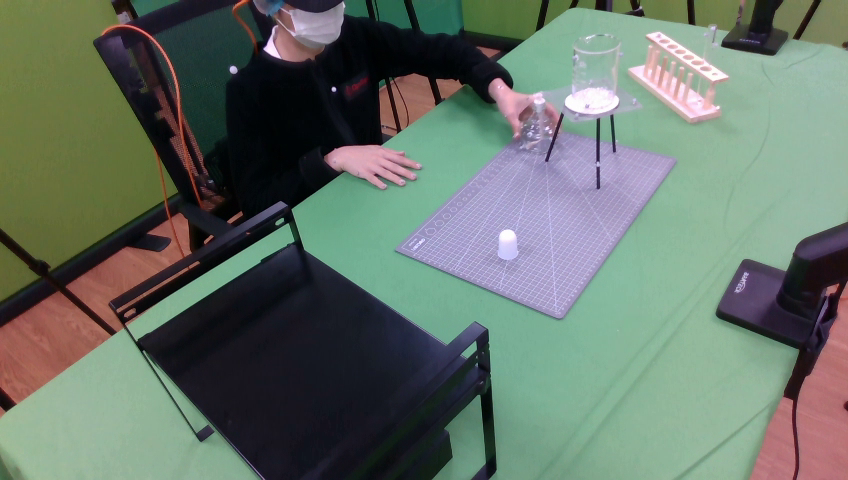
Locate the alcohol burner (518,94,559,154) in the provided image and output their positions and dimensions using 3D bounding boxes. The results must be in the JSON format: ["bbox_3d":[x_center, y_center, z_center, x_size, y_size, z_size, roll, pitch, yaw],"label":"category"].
[{"bbox_3d":[0.215,-0.222,1.135,0.078,0.119,0.077,-4,43,5],"label":"alcohol burner"}]

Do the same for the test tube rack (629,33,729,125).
[{"bbox_3d":[0.516,-0.337,1.247,0.067,0.085,0.240,-14,41,-7],"label":"test tube rack"}]

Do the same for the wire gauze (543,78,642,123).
[{"bbox_3d":[0.282,-0.234,1.021,0.125,0.011,0.120,-17,38,-4],"label":"wire gauze"}]

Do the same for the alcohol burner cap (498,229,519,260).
[{"bbox_3d":[0.131,0.004,0.938,0.034,0.048,0.033,-4,40,4],"label":"alcohol burner cap"}]

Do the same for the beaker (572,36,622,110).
[{"bbox_3d":[0.279,-0.274,0.992,0.074,0.101,0.083,-14,40,-5],"label":"beaker"}]

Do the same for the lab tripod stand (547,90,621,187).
[{"bbox_3d":[0.289,-0.184,1.062,0.148,0.132,0.147,-6,41,6],"label":"lab tripod stand"}]

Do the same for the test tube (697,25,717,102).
[{"bbox_3d":[0.546,-0.337,1.166,0.017,0.151,0.017,-5,36,4],"label":"test tube"}]
